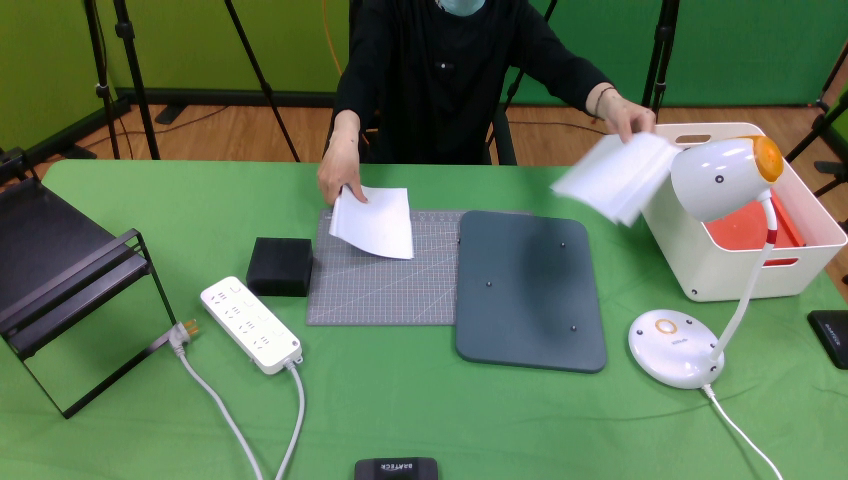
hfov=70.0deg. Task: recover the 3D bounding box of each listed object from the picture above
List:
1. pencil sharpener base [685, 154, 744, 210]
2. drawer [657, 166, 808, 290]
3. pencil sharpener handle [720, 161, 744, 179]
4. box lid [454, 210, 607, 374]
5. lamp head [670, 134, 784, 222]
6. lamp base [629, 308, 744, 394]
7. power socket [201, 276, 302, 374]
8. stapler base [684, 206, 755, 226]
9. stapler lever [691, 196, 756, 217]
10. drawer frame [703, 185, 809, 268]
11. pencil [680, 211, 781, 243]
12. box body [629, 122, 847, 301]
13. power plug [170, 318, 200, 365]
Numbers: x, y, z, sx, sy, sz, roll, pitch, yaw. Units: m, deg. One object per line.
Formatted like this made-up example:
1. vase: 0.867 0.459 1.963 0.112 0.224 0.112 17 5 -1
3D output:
1. pencil sharpener base: 0.619 -0.124 1.293 0.077 0.107 0.061 -8 47 -12
2. drawer: 0.582 -0.025 1.163 0.194 0.073 0.210 -12 56 3
3. pencil sharpener handle: 0.667 -0.147 1.299 0.031 0.068 0.036 -8 80 -12
4. box lid: 0.194 0.080 1.142 0.263 0.015 0.369 6 47 0
5. lamp head: 0.422 -0.089 0.829 0.113 0.123 0.112 8 74 -32
6. lamp base: 0.446 0.139 0.987 0.161 0.181 0.178 -19 53 -20
7. power socket: -0.297 0.141 1.034 0.072 0.033 0.225 -34 58 -30
8. stapler base: 0.588 -0.052 1.204 0.130 0.024 0.041 2 60 11
9. stapler lever: 0.586 -0.066 1.184 0.118 0.040 0.026 2 59 12
10. drawer frame: 0.584 -0.023 1.160 0.202 0.083 0.212 -12 56 3
11. pencil: 0.598 -0.028 1.185 0.194 0.012 0.012 18 48 10
12. box body: 0.593 -0.062 1.202 0.254 0.161 0.361 -3 47 -7
13. power plug: -0.392 0.167 1.013 0.052 0.035 0.072 -31 89 -23
